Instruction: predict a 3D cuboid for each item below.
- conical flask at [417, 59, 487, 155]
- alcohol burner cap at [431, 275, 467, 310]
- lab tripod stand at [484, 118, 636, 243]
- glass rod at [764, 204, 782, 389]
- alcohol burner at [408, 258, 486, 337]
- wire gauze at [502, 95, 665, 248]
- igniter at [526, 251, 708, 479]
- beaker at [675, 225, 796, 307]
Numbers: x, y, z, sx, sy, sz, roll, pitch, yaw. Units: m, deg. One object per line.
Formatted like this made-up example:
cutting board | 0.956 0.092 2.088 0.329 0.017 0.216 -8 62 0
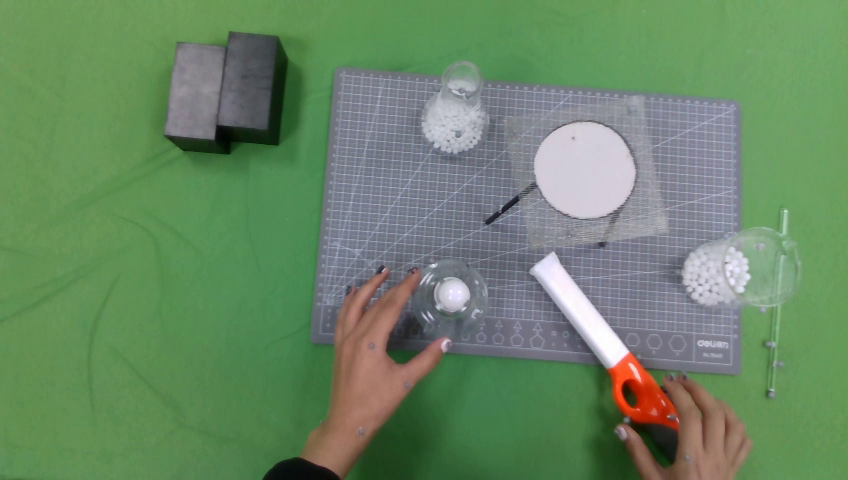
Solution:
conical flask | 0.031 -0.136 0.600 0.075 0.122 0.075 0 82 -1
alcohol burner cap | 0.024 0.047 0.544 0.034 0.048 0.034 0 87 -4
lab tripod stand | 0.135 -0.051 0.587 0.148 0.131 0.148 0 84 -1
glass rod | 0.374 0.058 0.647 0.008 0.008 0.199 8 82 -1
alcohol burner | 0.022 0.053 0.580 0.078 0.119 0.077 0 81 0
wire gauze | 0.137 -0.059 0.520 0.125 0.011 0.121 -8 83 -2
igniter | 0.200 0.130 0.621 0.057 0.025 0.276 -35 85 -22
beaker | 0.304 0.028 0.600 0.084 0.100 0.074 -32 84 -6
